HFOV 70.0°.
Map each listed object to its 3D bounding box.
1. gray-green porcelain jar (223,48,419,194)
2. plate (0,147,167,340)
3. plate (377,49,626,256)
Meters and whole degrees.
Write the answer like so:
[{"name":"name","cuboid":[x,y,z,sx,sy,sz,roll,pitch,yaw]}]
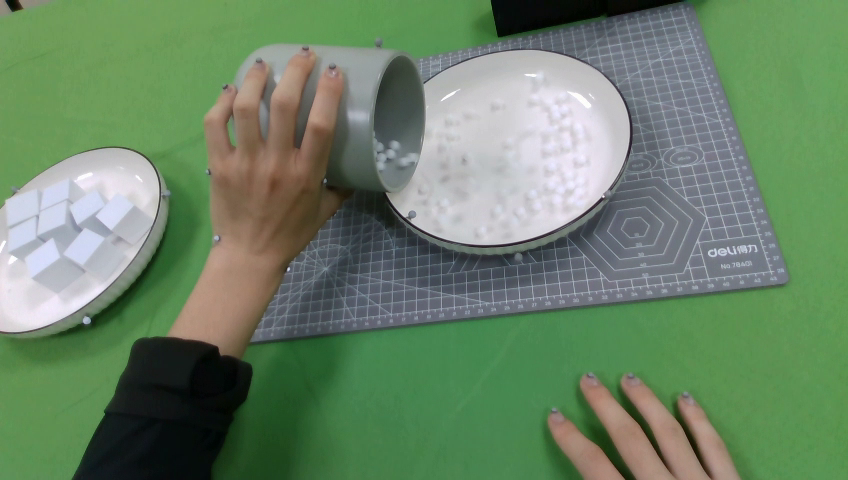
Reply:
[{"name":"gray-green porcelain jar","cuboid":[-0.080,-0.094,0.471,0.126,0.107,0.105,8,61,18]},{"name":"plate","cuboid":[-0.337,0.003,0.581,0.207,0.039,0.205,-8,57,12]},{"name":"plate","cuboid":[0.059,-0.074,0.504,0.209,0.038,0.207,-8,57,13]}]
